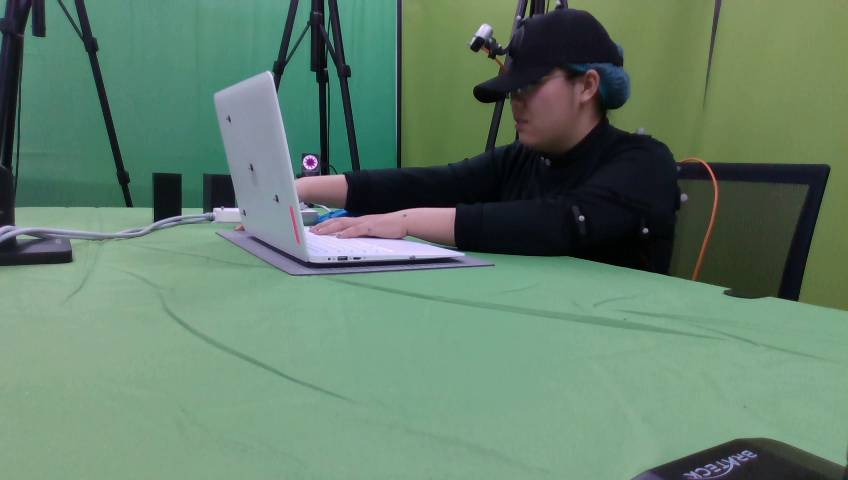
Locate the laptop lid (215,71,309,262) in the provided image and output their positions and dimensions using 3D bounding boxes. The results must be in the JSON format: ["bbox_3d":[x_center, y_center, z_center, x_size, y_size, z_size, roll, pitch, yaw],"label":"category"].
[{"bbox_3d":[-0.244,-0.105,0.870,0.013,0.241,0.355,-15,16,-27],"label":"laptop lid"}]

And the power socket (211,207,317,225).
[{"bbox_3d":[-0.334,-0.051,1.282,0.228,0.032,0.072,-1,9,-28],"label":"power socket"}]

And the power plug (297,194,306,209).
[{"bbox_3d":[-0.281,-0.076,1.340,0.035,0.052,0.072,4,6,-18],"label":"power plug"}]

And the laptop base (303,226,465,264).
[{"bbox_3d":[-0.125,0.007,0.955,0.237,0.023,0.352,3,6,-30],"label":"laptop base"}]

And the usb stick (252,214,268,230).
[{"bbox_3d":[-0.299,-0.034,1.105,0.021,0.027,0.059,-2,-1,-24],"label":"usb stick"}]

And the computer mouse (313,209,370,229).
[{"bbox_3d":[-0.175,-0.045,1.292,0.118,0.041,0.062,-3,12,-33],"label":"computer mouse"}]
